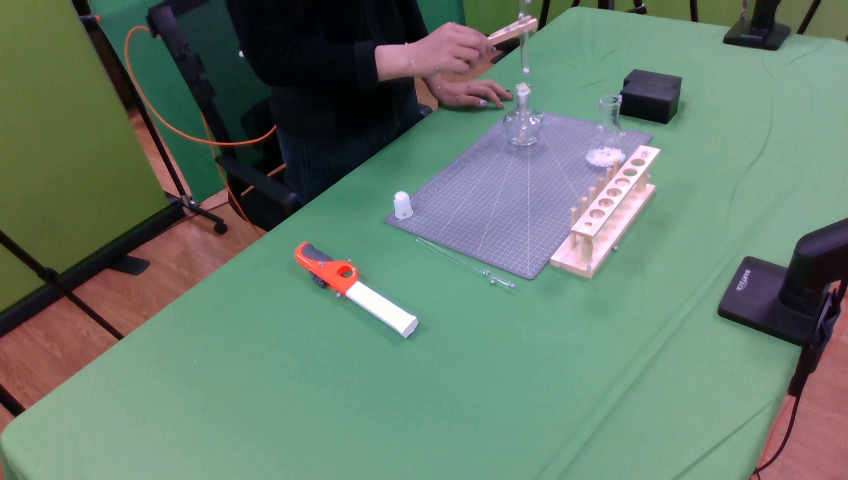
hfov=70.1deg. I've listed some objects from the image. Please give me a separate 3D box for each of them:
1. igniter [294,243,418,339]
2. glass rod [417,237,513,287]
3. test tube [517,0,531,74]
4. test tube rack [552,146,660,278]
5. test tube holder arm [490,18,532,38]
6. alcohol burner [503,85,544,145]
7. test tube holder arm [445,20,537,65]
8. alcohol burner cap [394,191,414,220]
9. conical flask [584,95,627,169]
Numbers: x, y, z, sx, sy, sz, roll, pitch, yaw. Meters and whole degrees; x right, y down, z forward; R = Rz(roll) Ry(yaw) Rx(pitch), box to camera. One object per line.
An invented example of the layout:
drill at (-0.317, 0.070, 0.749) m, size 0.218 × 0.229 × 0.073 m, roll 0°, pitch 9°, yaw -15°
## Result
igniter at (-0.114, 0.070, 0.919) m, size 0.274 × 0.025 × 0.057 m, roll 29°, pitch 63°, yaw 37°
glass rod at (0.059, 0.033, 0.945) m, size 0.198 × 0.008 × 0.008 m, roll 26°, pitch 52°, yaw 38°
test tube at (0.172, -0.354, 1.040) m, size 0.017 × 0.151 × 0.017 m, roll -7°, pitch 45°, yaw 8°
test tube rack at (0.286, -0.053, 0.944) m, size 0.066 × 0.085 × 0.243 m, roll 21°, pitch 49°, yaw 32°
test tube holder arm at (0.148, -0.354, 1.026) m, size 0.088 × 0.015 × 0.010 m, roll -32°, pitch 43°, yaw -20°
alcohol burner at (0.191, -0.243, 1.160) m, size 0.078 × 0.119 × 0.077 m, roll -4°, pitch 40°, yaw 4°
test tube holder arm at (0.113, -0.331, 1.009) m, size 0.179 × 0.015 × 0.013 m, roll -27°, pitch 41°, yaw -15°
alcohol burner cap at (-0.037, -0.062, 1.045) m, size 0.034 × 0.048 × 0.033 m, roll -5°, pitch 41°, yaw 5°
conical flask at (0.324, -0.192, 1.066) m, size 0.075 × 0.122 × 0.075 m, roll -6°, pitch 40°, yaw 5°
